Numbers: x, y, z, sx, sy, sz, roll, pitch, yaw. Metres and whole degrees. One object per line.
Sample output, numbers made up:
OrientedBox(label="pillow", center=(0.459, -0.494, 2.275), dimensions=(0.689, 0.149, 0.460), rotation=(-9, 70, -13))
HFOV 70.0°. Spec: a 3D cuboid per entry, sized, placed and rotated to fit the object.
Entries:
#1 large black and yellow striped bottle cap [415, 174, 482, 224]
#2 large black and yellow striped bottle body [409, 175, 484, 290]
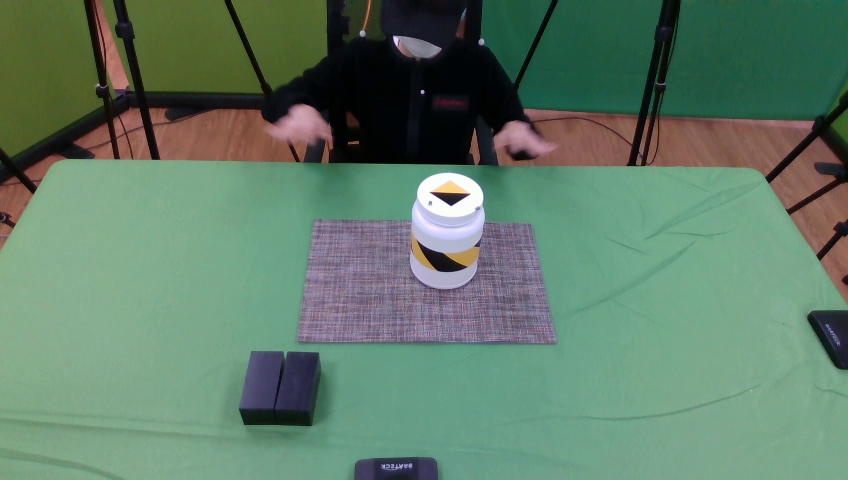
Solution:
OrientedBox(label="large black and yellow striped bottle cap", center=(0.042, -0.072, 1.036), dimensions=(0.115, 0.019, 0.114), rotation=(3, 44, -3))
OrientedBox(label="large black and yellow striped bottle body", center=(0.039, -0.013, 1.096), dimensions=(0.131, 0.185, 0.130), rotation=(2, 46, -2))
